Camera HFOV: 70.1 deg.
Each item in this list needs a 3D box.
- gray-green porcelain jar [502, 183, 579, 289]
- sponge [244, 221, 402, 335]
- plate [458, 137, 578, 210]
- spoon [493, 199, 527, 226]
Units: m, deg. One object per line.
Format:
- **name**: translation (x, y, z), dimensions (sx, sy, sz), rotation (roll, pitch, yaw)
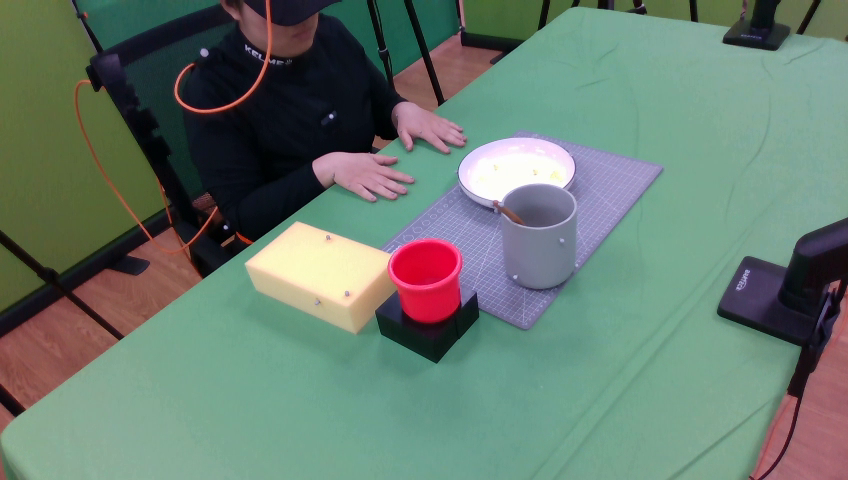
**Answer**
- **gray-green porcelain jar**: translation (0.166, -0.001, 0.866), dimensions (0.106, 0.127, 0.105), rotation (-5, 40, 5)
- **sponge**: translation (-0.153, 0.052, 0.920), dimensions (0.205, 0.061, 0.118), rotation (18, 47, 28)
- **plate**: translation (0.165, -0.113, 1.068), dimensions (0.207, 0.039, 0.206), rotation (-5, 40, 5)
- **spoon**: translation (0.135, -0.016, 0.831), dimensions (0.021, 0.195, 0.041), rotation (-49, 53, -1)
